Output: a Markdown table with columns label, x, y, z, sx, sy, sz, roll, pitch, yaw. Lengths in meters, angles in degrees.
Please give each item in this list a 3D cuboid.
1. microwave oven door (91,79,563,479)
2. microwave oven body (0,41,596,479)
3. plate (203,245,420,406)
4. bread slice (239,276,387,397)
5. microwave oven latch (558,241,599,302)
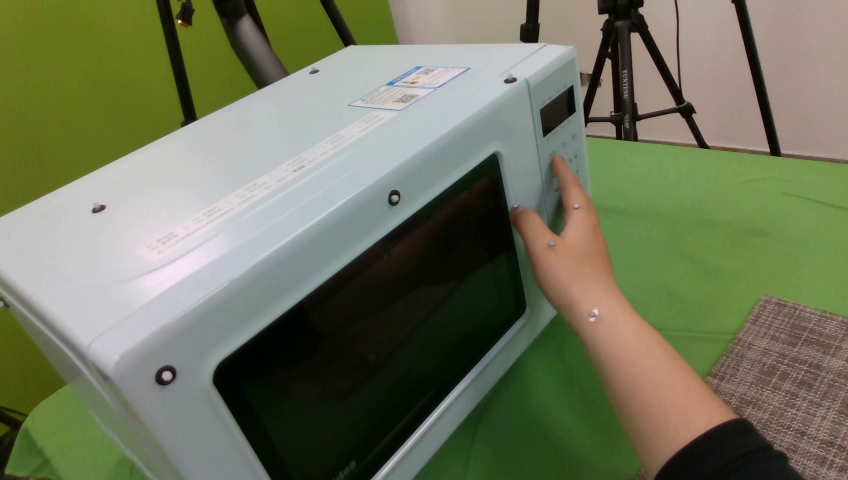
| label | x | y | z | sx | sy | sz | roll | pitch | yaw |
| --- | --- | --- | --- | --- | --- | --- | --- | --- | --- |
| microwave oven door | -0.017 | 0.062 | 0.449 | 0.039 | 0.246 | 0.355 | 15 | 43 | 41 |
| microwave oven body | -0.094 | 0.015 | 0.570 | 0.323 | 0.262 | 0.441 | 16 | 44 | 40 |
| plate | -0.101 | 0.078 | 0.572 | 0.209 | 0.038 | 0.207 | -12 | 31 | 8 |
| bread slice | -0.103 | 0.081 | 0.578 | 0.131 | 0.019 | 0.104 | -35 | 37 | -24 |
| microwave oven latch | 0.150 | 0.030 | 0.624 | 0.030 | 0.030 | 0.079 | 18 | 45 | 42 |
